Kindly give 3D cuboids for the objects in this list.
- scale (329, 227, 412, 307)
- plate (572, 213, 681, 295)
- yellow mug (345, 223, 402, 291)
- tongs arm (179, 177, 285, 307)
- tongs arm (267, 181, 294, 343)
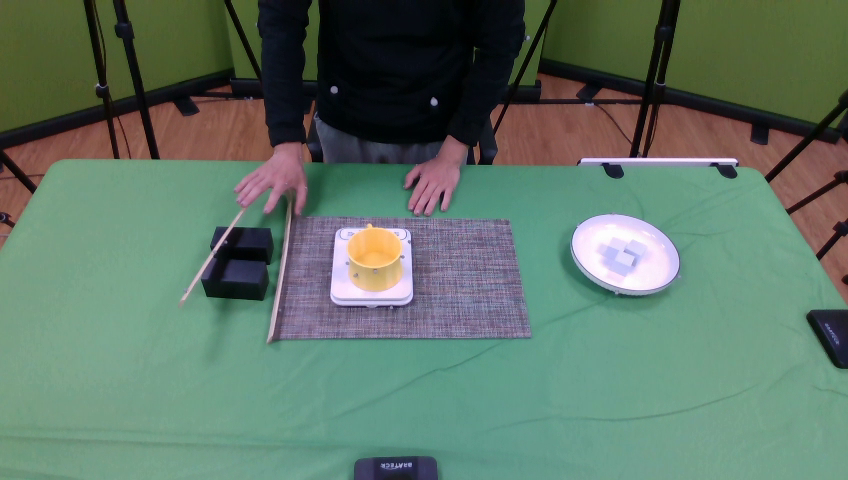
[{"bbox_3d":[-0.099,0.042,1.139,0.149,0.032,0.199,1,46,-4],"label":"scale"},{"bbox_3d":[0.392,0.030,1.189,0.208,0.039,0.206,2,46,-2],"label":"plate"},{"bbox_3d":[-0.092,0.022,1.093,0.100,0.064,0.130,-7,46,-10],"label":"yellow mug"},{"bbox_3d":[-0.342,-0.008,1.118,0.051,0.026,0.382,29,38,-14],"label":"tongs arm"},{"bbox_3d":[-0.273,0.027,1.144,0.028,0.028,0.385,17,42,-22],"label":"tongs arm"}]
